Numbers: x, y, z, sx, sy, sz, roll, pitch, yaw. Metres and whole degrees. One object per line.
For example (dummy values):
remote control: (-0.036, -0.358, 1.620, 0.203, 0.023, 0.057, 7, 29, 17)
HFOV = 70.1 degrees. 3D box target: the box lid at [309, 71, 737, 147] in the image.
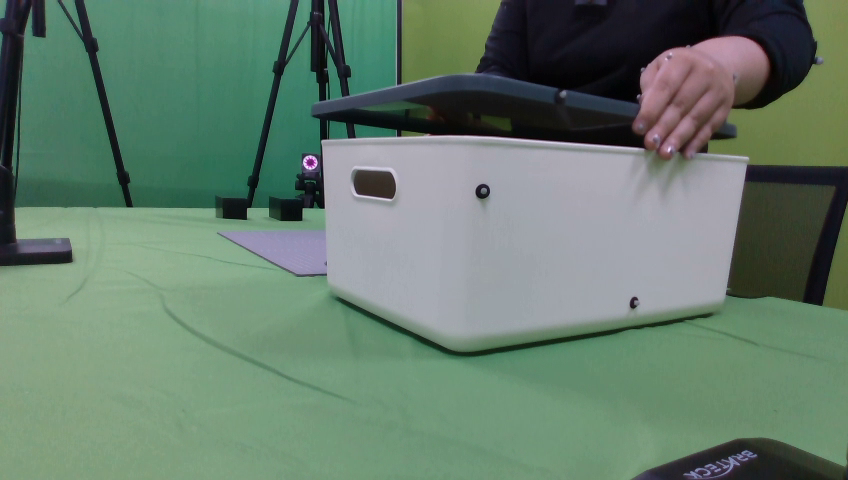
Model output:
box lid: (0.098, -0.114, 0.599, 0.374, 0.015, 0.262, 0, 4, -36)

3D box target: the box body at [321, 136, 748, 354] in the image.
box body: (0.105, -0.012, 0.604, 0.366, 0.160, 0.253, -2, 8, -33)
